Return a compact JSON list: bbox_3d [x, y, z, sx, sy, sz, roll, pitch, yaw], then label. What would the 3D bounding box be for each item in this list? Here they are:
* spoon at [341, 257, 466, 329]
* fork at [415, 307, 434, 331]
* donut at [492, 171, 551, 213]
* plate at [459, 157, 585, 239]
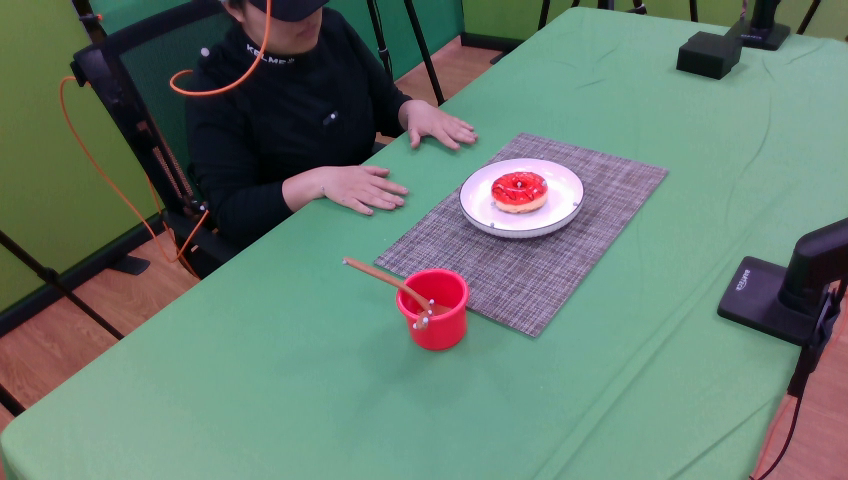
[{"bbox_3d":[-0.025,0.069,0.811,0.195,0.021,0.041,34,30,-18],"label":"spoon"},{"bbox_3d":[0.001,0.098,0.761,0.028,0.207,0.018,26,87,3],"label":"fork"},{"bbox_3d":[0.163,-0.083,1.015,0.099,0.048,0.098,-6,37,5],"label":"donut"},{"bbox_3d":[0.163,-0.068,1.015,0.209,0.038,0.208,-5,40,5],"label":"plate"}]
